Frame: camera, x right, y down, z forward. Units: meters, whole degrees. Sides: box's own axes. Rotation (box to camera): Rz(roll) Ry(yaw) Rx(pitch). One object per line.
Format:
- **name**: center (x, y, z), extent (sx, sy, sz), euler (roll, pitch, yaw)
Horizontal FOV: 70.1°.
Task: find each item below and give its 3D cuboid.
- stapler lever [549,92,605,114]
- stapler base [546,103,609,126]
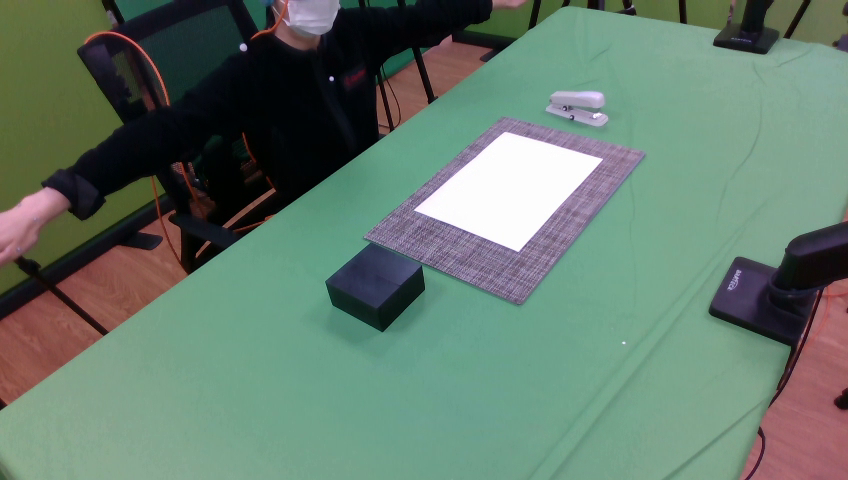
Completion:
- **stapler lever**: center (0.309, -0.285, 1.220), extent (0.117, 0.040, 0.027), euler (26, 49, 36)
- **stapler base**: center (0.313, -0.266, 1.235), extent (0.129, 0.024, 0.041), euler (26, 48, 35)
